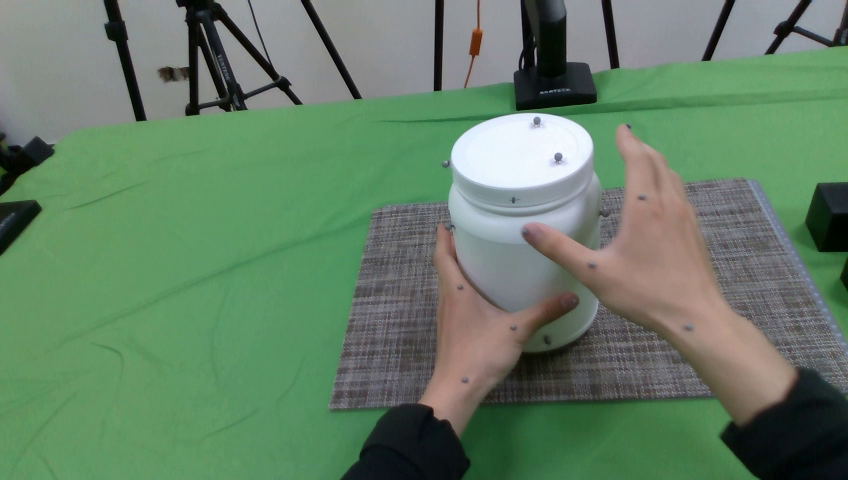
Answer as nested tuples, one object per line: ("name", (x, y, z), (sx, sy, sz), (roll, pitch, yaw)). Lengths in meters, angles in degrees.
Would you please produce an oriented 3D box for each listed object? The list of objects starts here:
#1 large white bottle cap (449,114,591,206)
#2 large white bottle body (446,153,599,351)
("large white bottle cap", (0.077, -0.068, 0.493), (0.115, 0.018, 0.113), (-7, 39, 6))
("large white bottle body", (0.091, -0.004, 0.549), (0.130, 0.186, 0.129), (-7, 39, 6))
